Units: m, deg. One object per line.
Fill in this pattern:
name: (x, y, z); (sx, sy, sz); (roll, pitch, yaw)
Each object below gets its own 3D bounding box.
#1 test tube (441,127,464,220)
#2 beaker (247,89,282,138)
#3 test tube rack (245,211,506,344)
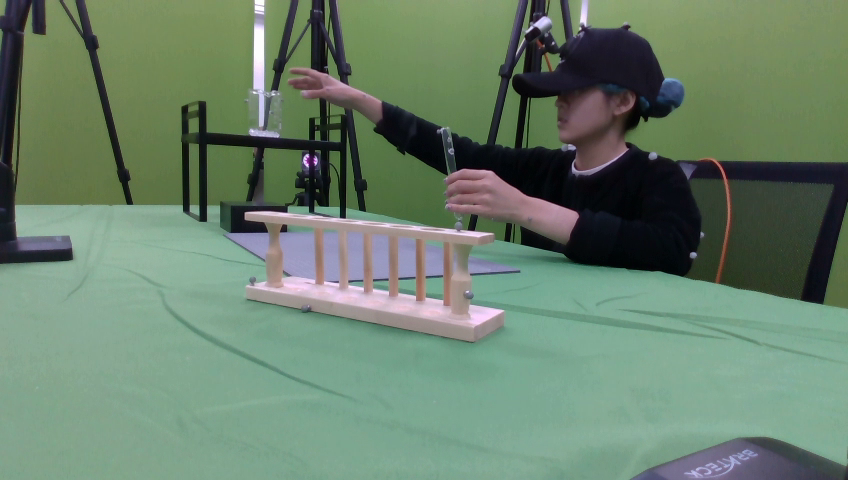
test tube: (0.047, -0.105, 0.965); (0.017, 0.150, 0.017); (-9, 8, 2)
beaker: (-0.347, -0.274, 1.320); (0.074, 0.100, 0.083); (-1, 9, -26)
test tube rack: (-0.049, 0.025, 0.547); (0.241, 0.085, 0.067); (7, 8, 28)
